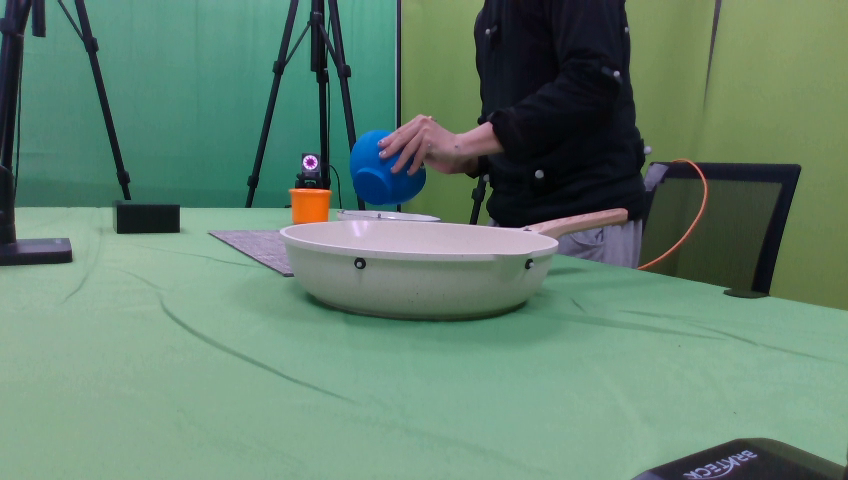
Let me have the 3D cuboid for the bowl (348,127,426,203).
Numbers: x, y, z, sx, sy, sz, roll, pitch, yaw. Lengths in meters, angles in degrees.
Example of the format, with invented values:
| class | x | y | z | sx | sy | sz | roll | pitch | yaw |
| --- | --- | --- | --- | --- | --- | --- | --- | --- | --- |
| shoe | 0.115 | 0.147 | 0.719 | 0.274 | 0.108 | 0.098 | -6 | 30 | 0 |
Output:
| class | x | y | z | sx | sy | sz | roll | pitch | yaw |
| --- | --- | --- | --- | --- | --- | --- | --- | --- | --- |
| bowl | -0.079 | -0.119 | 1.094 | 0.151 | 0.151 | 0.077 | 6 | 42 | 23 |

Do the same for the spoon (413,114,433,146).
| class | x | y | z | sx | sy | sz | roll | pitch | yaw |
| --- | --- | --- | --- | --- | --- | --- | --- | --- | --- |
| spoon | -0.017 | -0.195 | 1.189 | 0.041 | 0.021 | 0.194 | 14 | 43 | 11 |

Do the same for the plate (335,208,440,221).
| class | x | y | z | sx | sy | sz | roll | pitch | yaw |
| --- | --- | --- | --- | --- | --- | --- | --- | --- | --- |
| plate | -0.073 | -0.035 | 1.196 | 0.208 | 0.039 | 0.207 | 4 | 6 | 0 |

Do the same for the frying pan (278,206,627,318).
| class | x | y | z | sx | sy | sz | roll | pitch | yaw |
| --- | --- | --- | --- | --- | --- | --- | --- | --- | --- |
| frying pan | 0.079 | 0.002 | 0.705 | 0.490 | 0.102 | 0.305 | -12 | 15 | -33 |
